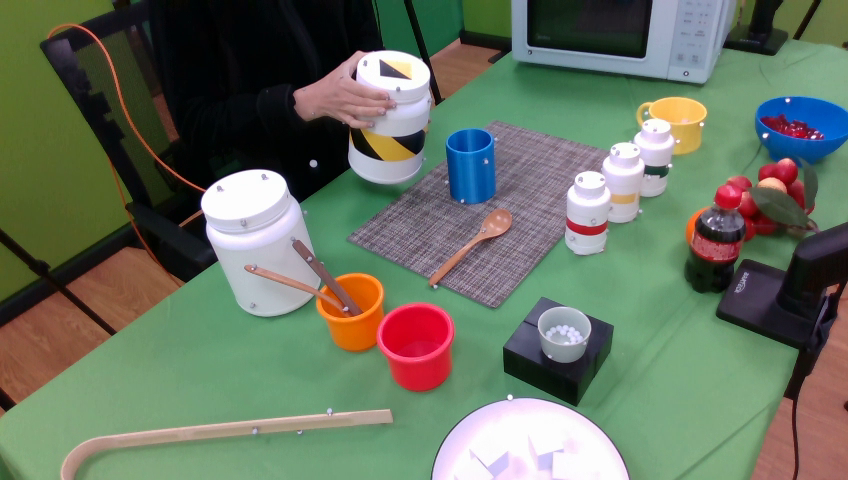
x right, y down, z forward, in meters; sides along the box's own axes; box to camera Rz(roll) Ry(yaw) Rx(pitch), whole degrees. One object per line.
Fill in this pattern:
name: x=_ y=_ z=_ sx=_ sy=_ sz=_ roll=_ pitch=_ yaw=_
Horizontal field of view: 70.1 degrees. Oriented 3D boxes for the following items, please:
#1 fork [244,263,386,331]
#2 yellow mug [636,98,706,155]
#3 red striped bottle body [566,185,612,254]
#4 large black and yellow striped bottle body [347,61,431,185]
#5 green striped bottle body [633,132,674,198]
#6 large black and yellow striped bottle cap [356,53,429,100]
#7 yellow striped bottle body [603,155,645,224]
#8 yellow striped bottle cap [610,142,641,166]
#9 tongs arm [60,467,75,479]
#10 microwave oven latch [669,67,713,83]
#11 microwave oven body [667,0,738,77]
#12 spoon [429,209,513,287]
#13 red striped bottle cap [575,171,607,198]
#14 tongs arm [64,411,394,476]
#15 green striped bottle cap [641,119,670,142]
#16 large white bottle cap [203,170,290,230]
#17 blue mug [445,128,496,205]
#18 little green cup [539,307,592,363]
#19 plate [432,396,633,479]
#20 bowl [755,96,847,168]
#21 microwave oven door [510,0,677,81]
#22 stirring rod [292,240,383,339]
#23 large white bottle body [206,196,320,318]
fork: x=-0.141 y=0.077 z=0.807 sx=0.209 sy=0.018 sz=0.028 roll=30 pitch=44 yaw=-24
yellow mug: x=0.453 y=-0.217 z=1.128 sx=0.100 sy=0.064 sz=0.129 roll=-34 pitch=46 yaw=-28
red striped bottle body: x=0.248 y=-0.041 z=0.910 sx=0.063 sy=0.120 sz=0.062 roll=-4 pitch=41 yaw=4
large black and yellow striped bottle body: x=-0.058 y=-0.198 z=1.005 sx=0.131 sy=0.184 sz=0.130 roll=6 pitch=45 yaw=-5
green striped bottle body: x=0.376 y=-0.135 z=1.001 sx=0.063 sy=0.120 sz=0.063 roll=-5 pitch=40 yaw=5
large black and yellow striped bottle cap: x=-0.049 y=-0.257 z=0.947 sx=0.115 sy=0.019 sz=0.114 roll=7 pitch=45 yaw=-6
yellow striped bottle body: x=0.314 y=-0.091 z=0.957 sx=0.063 sy=0.121 sz=0.062 roll=-4 pitch=40 yaw=4
yellow striped bottle cap: x=0.308 y=-0.131 z=0.925 sx=0.044 sy=0.019 sz=0.044 roll=-4 pitch=45 yaw=5
tongs arm: x=-0.239 y=0.301 z=0.648 sx=0.386 sy=0.028 sz=0.028 roll=6 pitch=49 yaw=16
microwave oven latch: x=0.556 y=-0.349 z=1.261 sx=0.078 sy=0.029 sz=0.030 roll=16 pitch=46 yaw=27
microwave oven body: x=0.462 y=-0.552 z=1.369 sx=0.439 sy=0.261 sz=0.326 roll=15 pitch=45 yaw=26
spoon: x=0.072 y=0.012 z=0.945 sx=0.041 sy=0.021 sz=0.194 roll=41 pitch=57 yaw=17
red striped bottle cap: x=0.242 y=-0.082 z=0.876 sx=0.044 sy=0.018 sz=0.044 roll=-5 pitch=44 yaw=5
tongs arm: x=-0.228 y=0.241 z=0.715 sx=0.385 sy=0.026 sz=0.050 roll=-5 pitch=43 yaw=4
green striped bottle cap: x=0.371 y=-0.175 z=0.968 sx=0.044 sy=0.020 sz=0.044 roll=-5 pitch=42 yaw=5
large white bottle cap: x=-0.241 y=-0.057 z=0.822 sx=0.115 sy=0.018 sz=0.114 roll=-4 pitch=40 yaw=4
blue mug: x=0.082 y=-0.137 z=1.056 sx=0.082 sy=0.106 sz=0.116 roll=-4 pitch=40 yaw=4
little green cup: x=0.168 y=0.115 z=0.721 sx=0.061 sy=0.039 sz=0.061 roll=-4 pitch=42 yaw=4
plate: x=0.112 y=0.261 z=0.634 sx=0.209 sy=0.038 sz=0.208 roll=-5 pitch=40 yaw=4
bowl: x=0.645 y=-0.177 z=1.041 sx=0.151 sy=0.077 sz=0.150 roll=-5 pitch=40 yaw=4
microwave oven door: x=0.354 y=-0.478 z=1.290 sx=0.353 sy=0.245 sz=0.039 roll=15 pitch=45 yaw=25
stirring rod: x=-0.118 y=0.068 z=0.826 sx=0.176 sy=0.006 sz=0.014 roll=49 pitch=59 yaw=-4
large white bottle body: x=-0.233 y=0.008 z=0.876 sx=0.130 sy=0.185 sz=0.130 roll=-4 pitch=40 yaw=4
